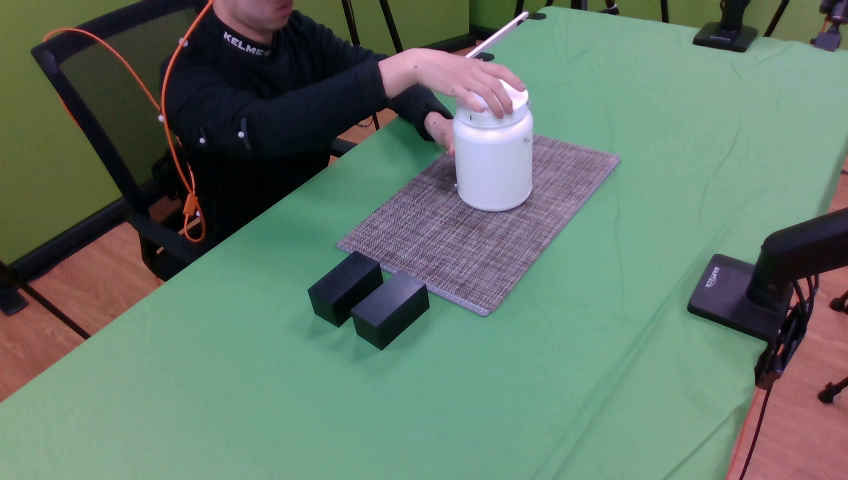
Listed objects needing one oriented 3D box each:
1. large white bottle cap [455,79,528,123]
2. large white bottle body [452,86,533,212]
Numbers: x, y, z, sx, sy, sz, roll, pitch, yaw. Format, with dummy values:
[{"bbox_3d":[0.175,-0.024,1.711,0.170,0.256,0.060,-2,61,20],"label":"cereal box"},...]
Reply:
[{"bbox_3d":[0.106,-0.218,0.946,0.115,0.018,0.114,-3,41,3],"label":"large white bottle cap"},{"bbox_3d":[0.115,-0.154,1.000,0.130,0.185,0.130,-4,41,4],"label":"large white bottle body"}]
